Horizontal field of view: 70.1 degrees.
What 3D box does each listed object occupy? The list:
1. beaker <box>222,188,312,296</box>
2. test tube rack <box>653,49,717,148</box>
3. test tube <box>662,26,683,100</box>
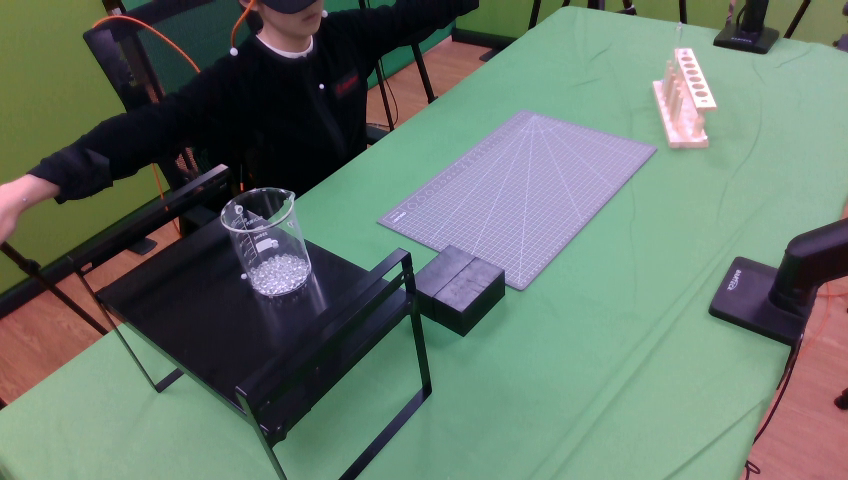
[{"bbox_3d":[-0.165,0.003,0.659,0.073,0.101,0.084,28,51,34],"label":"beaker"},{"bbox_3d":[0.502,-0.281,1.177,0.066,0.085,0.241,1,41,10],"label":"test tube rack"},{"bbox_3d":[0.485,-0.343,1.182,0.017,0.151,0.017,-3,41,4],"label":"test tube"}]
